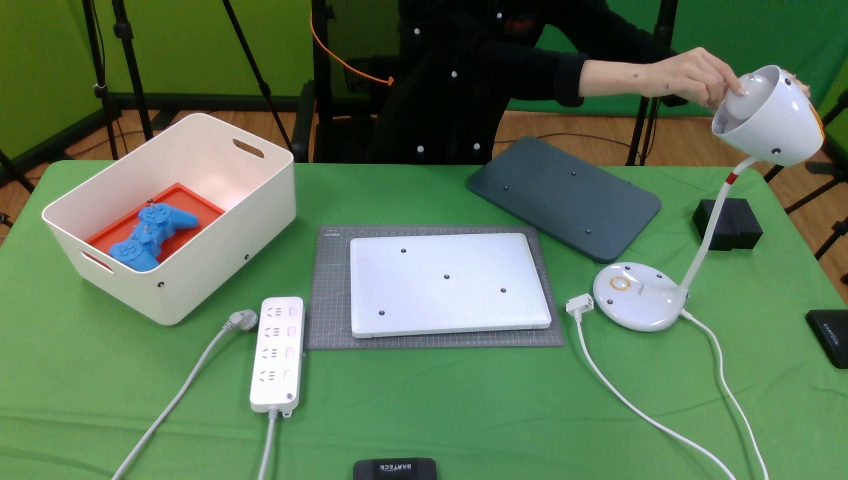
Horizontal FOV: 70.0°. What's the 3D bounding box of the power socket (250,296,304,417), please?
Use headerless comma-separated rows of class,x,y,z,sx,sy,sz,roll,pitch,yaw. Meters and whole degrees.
power socket,-0.239,0.182,0.996,0.072,0.033,0.225,-2,47,-5

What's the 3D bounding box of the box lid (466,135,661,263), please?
box lid,0.306,-0.102,1.327,0.370,0.015,0.263,32,52,25

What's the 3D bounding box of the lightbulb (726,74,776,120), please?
lightbulb,0.451,-0.175,0.805,0.108,0.059,0.059,39,50,-6

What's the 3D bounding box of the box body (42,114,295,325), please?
box body,-0.437,-0.046,1.110,0.253,0.161,0.363,24,49,19

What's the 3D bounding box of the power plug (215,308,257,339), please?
power plug,-0.316,0.143,1.024,0.072,0.053,0.035,-33,57,-9

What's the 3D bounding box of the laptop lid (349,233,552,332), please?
laptop lid,0.040,0.070,1.119,0.357,0.013,0.240,-1,44,-5

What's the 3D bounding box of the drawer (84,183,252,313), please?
drawer,-0.457,0.008,1.099,0.194,0.073,0.211,29,49,21

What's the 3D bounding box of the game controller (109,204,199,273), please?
game controller,-0.467,-0.005,1.044,0.097,0.052,0.154,8,45,10

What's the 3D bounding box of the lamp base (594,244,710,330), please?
lamp base,0.413,0.052,1.070,0.179,0.181,0.160,18,48,9

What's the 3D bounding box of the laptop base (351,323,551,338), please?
laptop base,0.040,0.080,1.125,0.355,0.023,0.234,-2,43,-6

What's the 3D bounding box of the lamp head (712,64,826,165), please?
lamp head,0.467,-0.153,0.811,0.123,0.112,0.112,37,47,-13

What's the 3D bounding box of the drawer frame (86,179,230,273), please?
drawer frame,-0.453,0.010,1.100,0.201,0.083,0.213,28,54,23

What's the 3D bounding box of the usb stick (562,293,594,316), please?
usb stick,0.275,0.118,1.087,0.021,0.059,0.027,39,44,-27
